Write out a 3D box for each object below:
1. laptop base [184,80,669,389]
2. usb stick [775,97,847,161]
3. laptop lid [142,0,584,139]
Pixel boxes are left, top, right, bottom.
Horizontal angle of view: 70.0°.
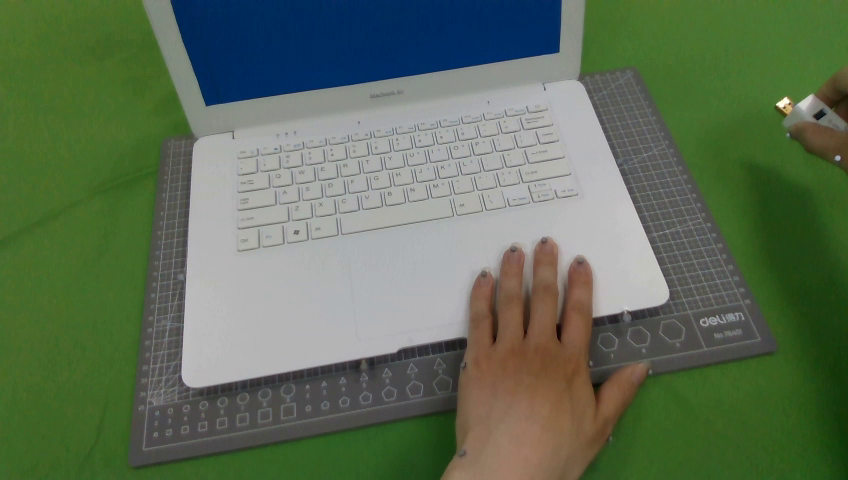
[{"bbox_3d":[-0.011,-0.018,0.493,0.354,0.023,0.233,-10,61,-3],"label":"laptop base"},{"bbox_3d":[0.303,-0.091,0.473,0.021,0.027,0.058,-38,64,-2],"label":"usb stick"},{"bbox_3d":[-0.042,-0.206,0.480,0.357,0.244,0.013,-11,39,-2],"label":"laptop lid"}]
